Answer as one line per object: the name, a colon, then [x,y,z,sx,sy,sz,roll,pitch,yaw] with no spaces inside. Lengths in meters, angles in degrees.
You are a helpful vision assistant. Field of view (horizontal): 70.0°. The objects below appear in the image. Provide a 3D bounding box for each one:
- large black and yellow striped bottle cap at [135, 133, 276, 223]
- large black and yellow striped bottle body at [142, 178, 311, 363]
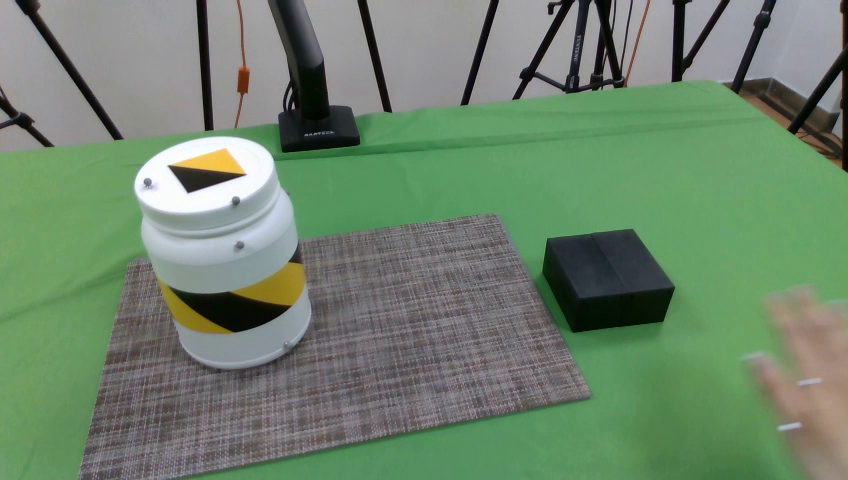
large black and yellow striped bottle cap: [-0.186,-0.056,0.520,0.115,0.019,0.114,1,41,0]
large black and yellow striped bottle body: [-0.184,0.012,0.575,0.131,0.185,0.129,0,39,0]
